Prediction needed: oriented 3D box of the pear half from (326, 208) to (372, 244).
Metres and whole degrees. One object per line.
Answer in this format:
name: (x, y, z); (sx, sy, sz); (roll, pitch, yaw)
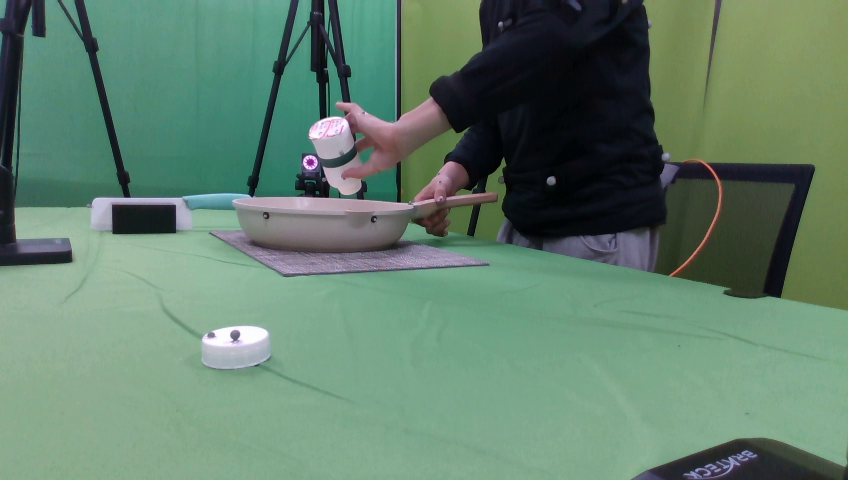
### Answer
pear half: (-0.128, -0.026, 1.017); (0.076, 0.056, 0.109); (6, 4, -18)

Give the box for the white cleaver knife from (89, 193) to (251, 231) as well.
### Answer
white cleaver knife: (-0.454, -0.052, 1.114); (0.288, 0.066, 0.021); (-4, 14, -27)

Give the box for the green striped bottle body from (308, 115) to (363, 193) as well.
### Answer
green striped bottle body: (-0.136, -0.133, 0.966); (0.063, 0.119, 0.063); (-9, 43, 9)

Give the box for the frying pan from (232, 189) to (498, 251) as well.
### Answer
frying pan: (-0.073, -0.051, 1.048); (0.490, 0.102, 0.305); (-11, 13, -27)

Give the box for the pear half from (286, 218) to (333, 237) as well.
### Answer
pear half: (-0.197, -0.022, 1.053); (0.088, 0.031, 0.070); (-10, 18, -44)

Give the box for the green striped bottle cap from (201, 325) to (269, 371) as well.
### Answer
green striped bottle cap: (-0.129, 0.073, 0.415); (0.044, 0.020, 0.044); (2, 8, 0)
